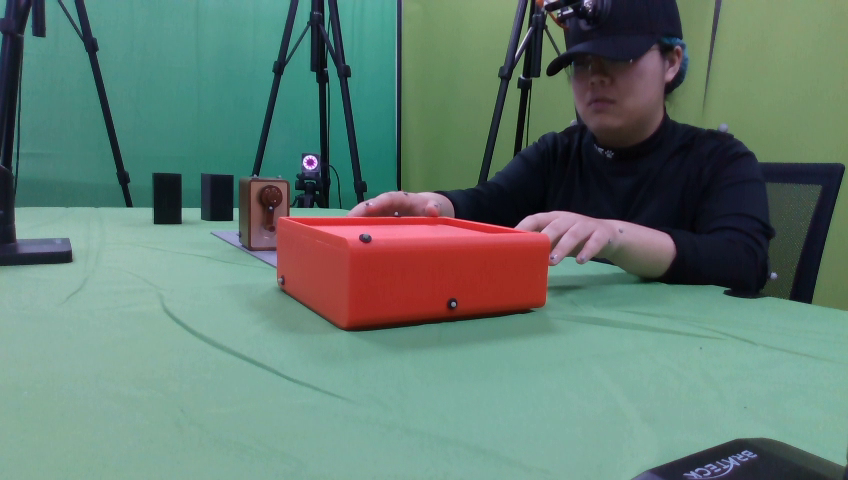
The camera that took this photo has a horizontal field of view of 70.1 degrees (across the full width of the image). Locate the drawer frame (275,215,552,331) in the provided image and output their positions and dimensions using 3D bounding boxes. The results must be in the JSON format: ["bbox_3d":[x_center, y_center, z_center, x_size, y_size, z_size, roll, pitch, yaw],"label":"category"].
[{"bbox_3d":[-0.018,0.022,0.610,0.215,0.082,0.200,-2,9,-31],"label":"drawer frame"}]

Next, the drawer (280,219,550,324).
[{"bbox_3d":[-0.016,0.023,0.612,0.213,0.073,0.193,-2,9,-30],"label":"drawer"}]

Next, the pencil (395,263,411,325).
[{"bbox_3d":[-0.021,0.052,0.614,0.012,0.012,0.194,3,12,0],"label":"pencil"}]

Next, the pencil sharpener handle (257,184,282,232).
[{"bbox_3d":[-0.220,-0.046,0.865,0.036,0.067,0.030,8,4,-29],"label":"pencil sharpener handle"}]

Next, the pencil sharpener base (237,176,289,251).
[{"bbox_3d":[-0.243,-0.040,0.911,0.061,0.107,0.076,-1,8,-28],"label":"pencil sharpener base"}]
